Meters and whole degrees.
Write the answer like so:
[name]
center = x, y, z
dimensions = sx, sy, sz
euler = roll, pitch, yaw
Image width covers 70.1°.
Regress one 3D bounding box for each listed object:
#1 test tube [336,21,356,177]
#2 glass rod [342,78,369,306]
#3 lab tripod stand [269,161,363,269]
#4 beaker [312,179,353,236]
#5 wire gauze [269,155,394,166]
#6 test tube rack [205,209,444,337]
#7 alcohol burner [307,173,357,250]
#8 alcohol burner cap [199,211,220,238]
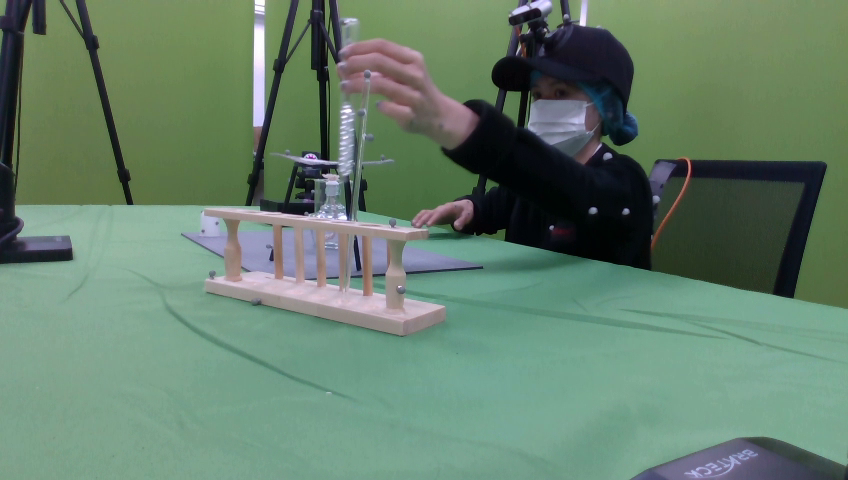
[test tube]
center = -0.077, -0.137, 0.594
dimensions = 0.017, 0.150, 0.017
euler = 3, 6, 0
[glass rod]
center = -0.059, -0.038, 0.522
dimensions = 0.008, 0.199, 0.008
euler = 6, 5, 0
[lab tripod stand]
center = -0.125, -0.036, 0.794
dimensions = 0.148, 0.131, 0.148
euler = 5, 7, 0
[beaker]
center = -0.167, -0.060, 1.103
dimensions = 0.074, 0.100, 0.084
euler = 1, 8, -11
[wire gauze]
center = -0.121, -0.102, 0.785
dimensions = 0.122, 0.011, 0.124
euler = -3, 10, -39
[test tube rack]
center = -0.100, 0.021, 0.565
dimensions = 0.241, 0.085, 0.067
euler = 7, 8, 32
[alcohol burner]
center = -0.144, -0.045, 0.940
dimensions = 0.078, 0.119, 0.078
euler = 1, 8, 0
[alcohol burner cap]
center = -0.356, -0.027, 1.002
dimensions = 0.034, 0.048, 0.034
euler = 2, 7, 0
